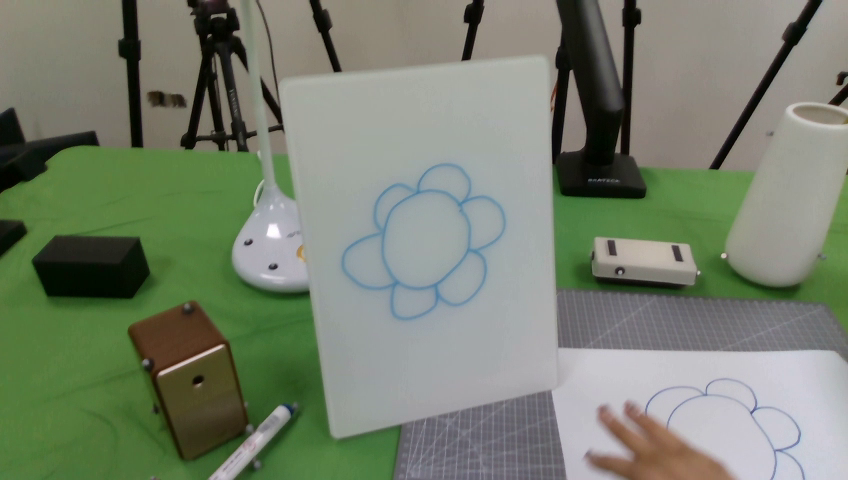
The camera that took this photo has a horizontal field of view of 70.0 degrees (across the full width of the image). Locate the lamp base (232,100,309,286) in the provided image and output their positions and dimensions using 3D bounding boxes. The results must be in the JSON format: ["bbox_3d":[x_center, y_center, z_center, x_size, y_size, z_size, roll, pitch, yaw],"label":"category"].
[{"bbox_3d":[-0.162,-0.063,0.710,0.161,0.182,0.177,-28,41,-34],"label":"lamp base"}]

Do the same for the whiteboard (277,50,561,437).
[{"bbox_3d":[-0.004,-0.007,0.571,0.218,0.307,0.143,-9,17,-11],"label":"whiteboard"}]

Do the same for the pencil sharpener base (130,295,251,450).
[{"bbox_3d":[-0.199,0.112,0.520,0.061,0.108,0.076,-24,41,-30],"label":"pencil sharpener base"}]

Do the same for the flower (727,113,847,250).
[{"bbox_3d":[0.417,-0.108,0.614,0.044,0.364,0.038,-10,53,-25],"label":"flower"}]

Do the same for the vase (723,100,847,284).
[{"bbox_3d":[0.408,-0.049,0.674,0.098,0.201,0.097,1,35,0],"label":"vase"}]

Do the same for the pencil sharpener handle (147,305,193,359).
[{"bbox_3d":[-0.229,0.079,0.547,0.036,0.068,0.030,-30,44,-25],"label":"pencil sharpener handle"}]

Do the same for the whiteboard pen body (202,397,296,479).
[{"bbox_3d":[-0.153,0.178,0.498,0.017,0.017,0.140,16,34,22],"label":"whiteboard pen body"}]

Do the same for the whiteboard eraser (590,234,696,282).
[{"bbox_3d":[0.253,0.023,0.709,0.112,0.042,0.055,4,33,7],"label":"whiteboard eraser"}]
